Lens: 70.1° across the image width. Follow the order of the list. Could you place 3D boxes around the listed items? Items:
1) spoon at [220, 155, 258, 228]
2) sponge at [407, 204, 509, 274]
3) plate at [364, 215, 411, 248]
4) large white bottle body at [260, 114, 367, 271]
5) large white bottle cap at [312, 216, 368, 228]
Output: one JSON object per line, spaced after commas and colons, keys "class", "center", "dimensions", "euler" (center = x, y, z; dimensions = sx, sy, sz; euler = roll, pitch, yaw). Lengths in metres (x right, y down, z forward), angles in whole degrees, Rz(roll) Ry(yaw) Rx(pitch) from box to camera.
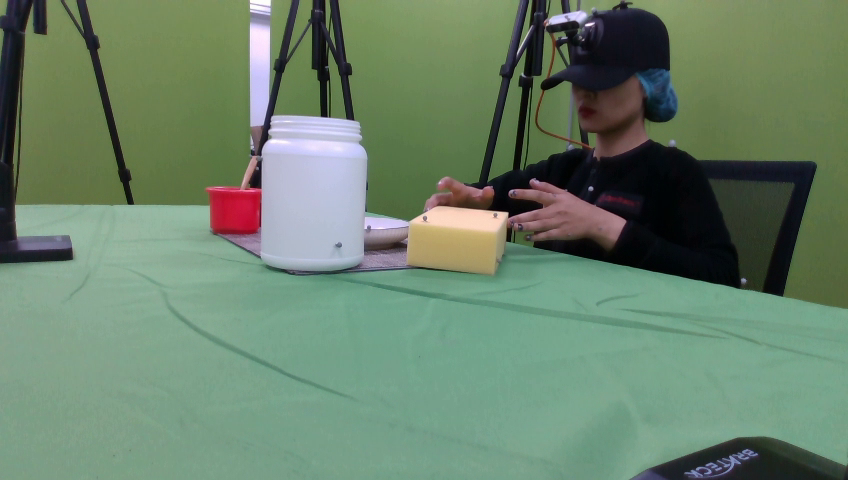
{"class": "spoon", "center": [-0.325, -0.090, 1.091], "dimensions": [0.041, 0.021, 0.193], "euler": [3, 51, 3]}
{"class": "sponge", "center": [0.056, -0.007, 0.876], "dimensions": [0.118, 0.061, 0.207], "euler": [6, 11, 10]}
{"class": "plate", "center": [-0.122, -0.015, 0.984], "dimensions": [0.209, 0.038, 0.209], "euler": [2, 7, 0]}
{"class": "large white bottle body", "center": [-0.139, -0.062, 0.763], "dimensions": [0.131, 0.184, 0.130], "euler": [3, 8, 0]}
{"class": "large white bottle cap", "center": [-0.171, -0.038, 1.234], "dimensions": [0.115, 0.018, 0.115], "euler": [2, 5, 0]}
